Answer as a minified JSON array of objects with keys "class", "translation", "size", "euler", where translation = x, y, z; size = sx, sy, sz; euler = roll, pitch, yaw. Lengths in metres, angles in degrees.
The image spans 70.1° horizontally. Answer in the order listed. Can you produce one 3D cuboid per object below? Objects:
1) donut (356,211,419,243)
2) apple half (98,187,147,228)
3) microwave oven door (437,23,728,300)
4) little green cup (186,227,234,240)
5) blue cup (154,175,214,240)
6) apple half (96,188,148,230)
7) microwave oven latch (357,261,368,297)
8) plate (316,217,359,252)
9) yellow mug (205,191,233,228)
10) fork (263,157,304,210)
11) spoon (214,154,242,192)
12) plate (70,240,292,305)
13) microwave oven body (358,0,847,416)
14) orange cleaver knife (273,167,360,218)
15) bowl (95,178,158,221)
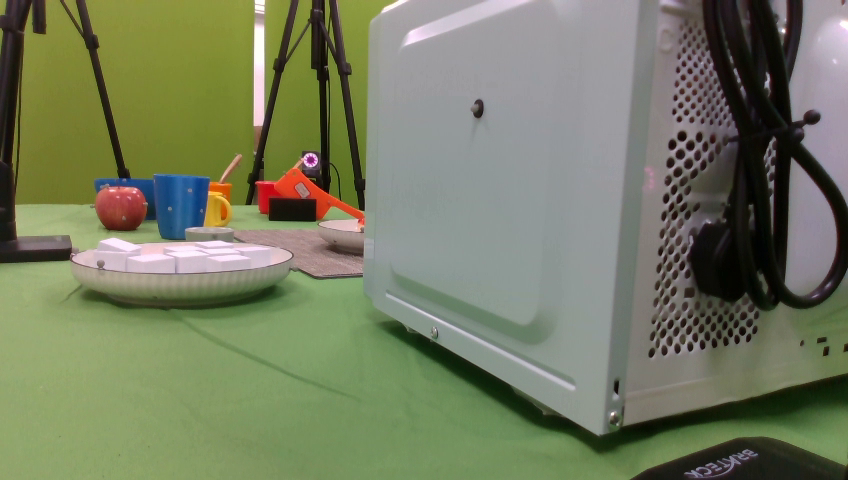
[{"class":"donut","translation":[-0.057,-0.019,0.945],"size":[0.099,0.048,0.099],"euler":[5,6,0]},{"class":"apple half","translation":[-0.534,-0.059,1.071],"size":[0.082,0.081,0.032],"euler":[-1,12,-25]},{"class":"microwave oven door","translation":[0.181,-0.073,0.621],"size":[0.358,0.243,0.039],"euler":[-2,8,-29]},{"class":"little green cup","translation":[-0.285,0.005,0.805],"size":[0.061,0.038,0.061],"euler":[2,8,0]},{"class":"blue cup","translation":[-0.390,-0.053,0.978],"size":[0.093,0.100,0.092],"euler":[3,6,0]},{"class":"apple half","translation":[-0.517,-0.052,1.036],"size":[0.081,0.074,0.053],"euler":[2,10,-26]},{"class":"microwave oven latch","translation":[-0.019,0.033,0.531],"size":[0.079,0.029,0.030],"euler":[-1,7,-27]},{"class":"plate","translation":[-0.064,-0.007,0.943],"size":[0.209,0.038,0.209],"euler":[3,8,0]},{"class":"yellow mug","translation":[-0.415,-0.057,1.131],"size":[0.130,0.064,0.100],"euler":[6,8,16]},{"class":"fork","translation":[-0.345,-0.143,1.505],"size":[0.028,0.019,0.207],"euler":[-4,46,29]},{"class":"spoon","translation":[-0.439,-0.124,1.318],"size":[0.041,0.193,0.022],"euler":[6,-37,15]},{"class":"plate","translation":[-0.242,0.031,0.618],"size":[0.208,0.039,0.207],"euler":[2,8,0]},{"class":"microwave oven body","translation":[0.211,-0.047,0.474],"size":[0.444,0.260,0.324],"euler":[-1,7,-28]},{"class":"orange cleaver knife","translation":[-0.238,-0.091,1.381],"size":[0.212,0.077,0.012],"euler":[31,0,-19]},{"class":"bowl","translation":[-0.576,-0.081,1.217],"size":[0.151,0.077,0.151],"euler":[3,8,0]}]
